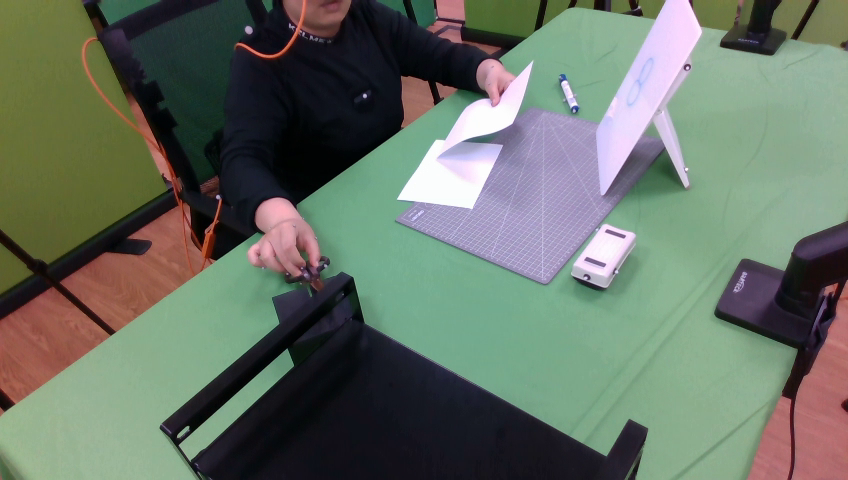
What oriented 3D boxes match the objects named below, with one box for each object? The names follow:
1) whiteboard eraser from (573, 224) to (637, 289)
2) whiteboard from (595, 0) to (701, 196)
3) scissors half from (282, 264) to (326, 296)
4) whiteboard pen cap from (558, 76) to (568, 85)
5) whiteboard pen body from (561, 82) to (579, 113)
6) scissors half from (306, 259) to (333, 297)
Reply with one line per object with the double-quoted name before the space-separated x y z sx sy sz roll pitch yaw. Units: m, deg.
"whiteboard eraser" 0.267 0.025 0.891 0.055 0.042 0.113 19 47 31
"whiteboard" 0.421 -0.227 1.010 0.144 0.305 0.216 18 42 -2
"scissors half" -0.171 0.060 0.872 0.040 0.013 0.174 -24 18 -24
"whiteboard pen cap" 0.309 -0.350 1.340 0.018 0.018 0.033 -7 41 1
"whiteboard pen body" 0.310 -0.311 1.298 0.017 0.017 0.140 -6 41 2
"scissors half" -0.151 0.054 0.877 0.040 0.013 0.174 -12 16 -7
